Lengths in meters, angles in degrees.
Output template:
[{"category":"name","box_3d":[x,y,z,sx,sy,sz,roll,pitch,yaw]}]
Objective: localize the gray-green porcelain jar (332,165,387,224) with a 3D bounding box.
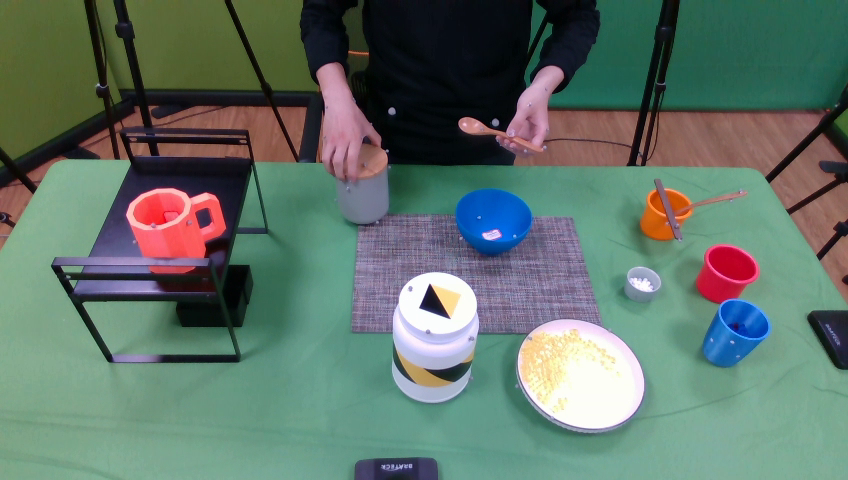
[{"category":"gray-green porcelain jar","box_3d":[-0.127,-0.104,1.211,0.106,0.127,0.105,1,42,0]}]

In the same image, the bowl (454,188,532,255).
[{"category":"bowl","box_3d":[0.131,-0.025,1.187,0.151,0.077,0.150,2,46,-2]}]

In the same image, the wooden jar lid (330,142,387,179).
[{"category":"wooden jar lid","box_3d":[-0.126,-0.150,1.169,0.108,0.021,0.107,1,44,-1]}]

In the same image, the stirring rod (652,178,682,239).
[{"category":"stirring rod","box_3d":[0.481,-0.065,1.204,0.014,0.006,0.175,2,46,-1]}]

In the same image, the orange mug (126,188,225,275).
[{"category":"orange mug","box_3d":[-0.357,-0.020,0.884,0.126,0.101,0.083,-29,54,-23]}]

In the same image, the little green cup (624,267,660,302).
[{"category":"little green cup","box_3d":[0.406,0.084,1.135,0.061,0.039,0.061,3,46,-3]}]

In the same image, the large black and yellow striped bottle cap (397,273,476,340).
[{"category":"large black and yellow striped bottle cap","box_3d":[0.018,0.094,0.878,0.115,0.019,0.114,3,46,-3]}]

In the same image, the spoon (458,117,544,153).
[{"category":"spoon","box_3d":[0.131,-0.184,1.054,0.041,0.022,0.192,-31,39,-27]}]

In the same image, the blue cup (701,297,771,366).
[{"category":"blue cup","box_3d":[0.519,0.161,1.025,0.093,0.101,0.092,3,45,-3]}]

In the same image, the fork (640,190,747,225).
[{"category":"fork","box_3d":[0.533,-0.064,1.211,0.207,0.019,0.028,-22,27,38]}]

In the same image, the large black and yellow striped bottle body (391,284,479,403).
[{"category":"large black and yellow striped bottle body","box_3d":[0.015,0.153,0.938,0.131,0.185,0.130,2,46,-2]}]

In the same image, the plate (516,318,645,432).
[{"category":"plate","box_3d":[0.253,0.221,0.993,0.209,0.038,0.208,2,46,-2]}]
